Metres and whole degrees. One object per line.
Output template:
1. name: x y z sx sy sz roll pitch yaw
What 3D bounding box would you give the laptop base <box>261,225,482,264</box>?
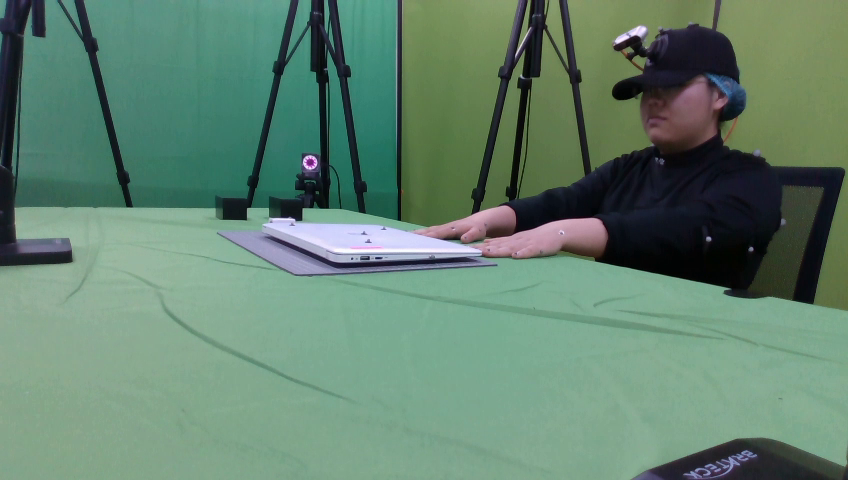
1. laptop base: -0.100 0.006 0.965 0.237 0.023 0.352 2 6 -31

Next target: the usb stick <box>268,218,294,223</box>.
1. usb stick: -0.272 -0.027 1.119 0.059 0.027 0.021 -6 11 -35

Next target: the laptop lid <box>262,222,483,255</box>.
1. laptop lid: -0.097 -0.005 0.965 0.243 0.013 0.355 1 7 -29
